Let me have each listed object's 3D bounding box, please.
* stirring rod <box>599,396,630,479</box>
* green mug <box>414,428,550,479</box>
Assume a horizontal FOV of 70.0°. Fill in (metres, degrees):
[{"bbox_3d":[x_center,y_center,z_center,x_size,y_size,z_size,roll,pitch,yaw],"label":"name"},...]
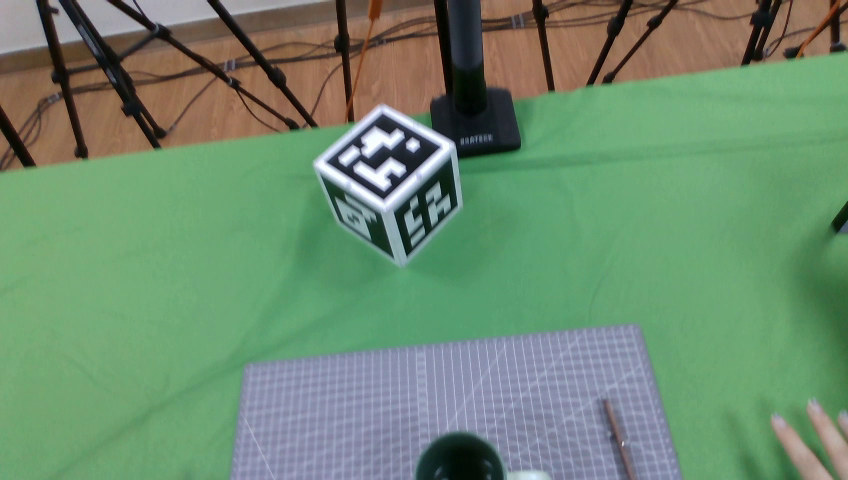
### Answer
[{"bbox_3d":[0.197,0.236,0.586,0.006,0.014,0.174,-7,57,-3],"label":"stirring rod"},{"bbox_3d":[0.053,0.226,0.560,0.125,0.106,0.091,-6,57,5],"label":"green mug"}]
